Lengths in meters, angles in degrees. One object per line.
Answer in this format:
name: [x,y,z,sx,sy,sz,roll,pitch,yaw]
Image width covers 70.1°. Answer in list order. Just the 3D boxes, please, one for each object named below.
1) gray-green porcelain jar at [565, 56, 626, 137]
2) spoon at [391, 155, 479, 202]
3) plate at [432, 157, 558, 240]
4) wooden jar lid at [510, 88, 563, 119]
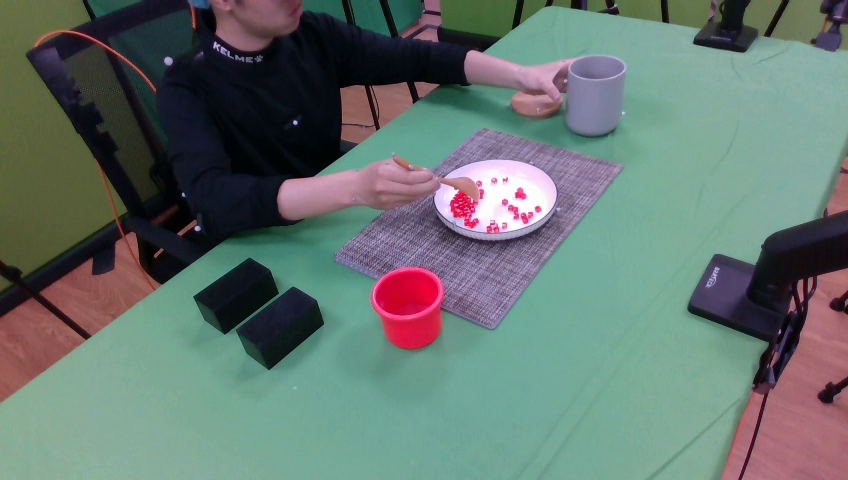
gray-green porcelain jar: [0.325,-0.271,1.159,0.106,0.127,0.105,-4,41,4]
spoon: [0.021,-0.093,0.914,0.195,0.021,0.041,13,56,-41]
plate: [0.118,-0.066,1.013,0.207,0.039,0.206,-4,41,4]
wooden jar lid: [0.237,-0.286,1.271,0.108,0.021,0.108,-5,42,5]
